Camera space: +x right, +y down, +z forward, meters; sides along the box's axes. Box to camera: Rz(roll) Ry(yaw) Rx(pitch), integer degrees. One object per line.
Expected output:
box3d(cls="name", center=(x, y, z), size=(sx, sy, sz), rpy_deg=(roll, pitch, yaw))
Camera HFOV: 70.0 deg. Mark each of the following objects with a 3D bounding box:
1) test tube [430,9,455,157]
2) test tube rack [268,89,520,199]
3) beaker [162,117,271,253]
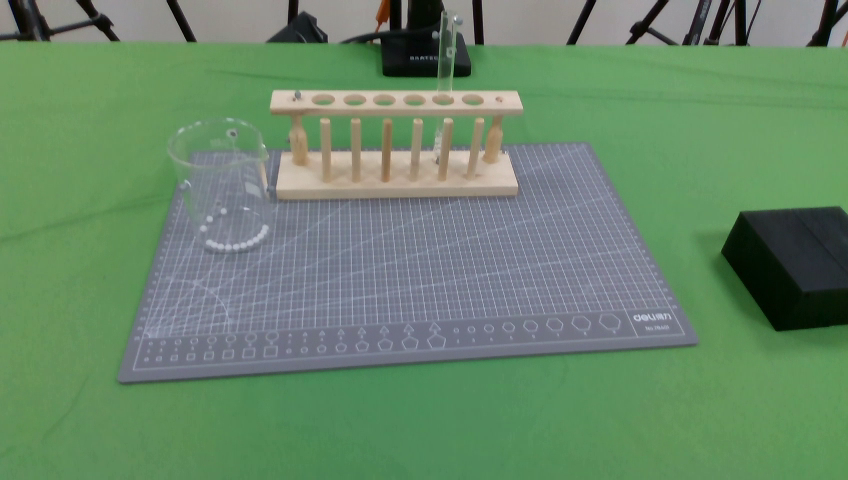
box3d(cls="test tube", center=(0.017, -0.148, 0.593), size=(0.017, 0.151, 0.017), rpy_deg=(2, 39, -1))
box3d(cls="test tube rack", center=(-0.028, -0.097, 0.607), size=(0.243, 0.086, 0.066), rpy_deg=(-1, 43, -6))
box3d(cls="beaker", center=(-0.173, -0.045, 0.529), size=(0.084, 0.101, 0.073), rpy_deg=(12, 43, 8))
